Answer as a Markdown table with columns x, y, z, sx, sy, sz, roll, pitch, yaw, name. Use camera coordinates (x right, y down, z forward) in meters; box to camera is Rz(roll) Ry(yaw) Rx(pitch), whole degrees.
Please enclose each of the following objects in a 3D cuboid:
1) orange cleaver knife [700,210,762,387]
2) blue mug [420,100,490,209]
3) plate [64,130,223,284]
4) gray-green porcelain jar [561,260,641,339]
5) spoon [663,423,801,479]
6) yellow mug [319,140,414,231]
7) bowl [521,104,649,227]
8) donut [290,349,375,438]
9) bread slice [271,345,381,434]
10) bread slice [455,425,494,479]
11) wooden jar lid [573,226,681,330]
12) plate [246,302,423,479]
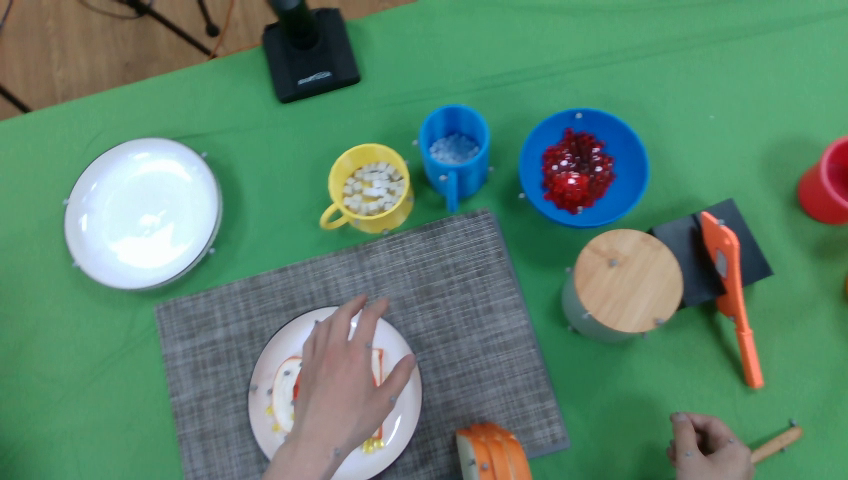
| x | y | z | sx | sy | sz | roll | pitch | yaw | name |
| --- | --- | --- | --- | --- | --- | --- | --- | --- | --- |
| 0.350 | 0.067 | 0.696 | 0.012 | 0.077 | 0.212 | -19 | 105 | 0 | orange cleaver knife |
| 0.038 | -0.096 | 0.747 | 0.082 | 0.106 | 0.116 | 4 | 76 | 5 | blue mug |
| -0.362 | -0.042 | 0.796 | 0.207 | 0.039 | 0.206 | -1 | 76 | 4 | plate |
| 0.213 | 0.056 | 0.686 | 0.106 | 0.127 | 0.105 | -1 | 76 | 4 | gray-green porcelain jar |
| 0.344 | 0.254 | 0.680 | 0.194 | 0.022 | 0.041 | -27 | 57 | -3 | spoon |
| -0.077 | -0.059 | 0.766 | 0.131 | 0.064 | 0.099 | -37 | 76 | -4 | yellow mug |
| 0.191 | -0.081 | 0.747 | 0.151 | 0.077 | 0.150 | -1 | 76 | 4 | bowl |
| -0.104 | 0.173 | 0.691 | 0.099 | 0.048 | 0.098 | 0 | 77 | 1 | donut |
| -0.116 | 0.180 | 0.722 | 0.131 | 0.019 | 0.104 | -3 | 75 | 0 | bread slice |
| 0.055 | 0.251 | 0.644 | 0.018 | 0.135 | 0.106 | -8 | 73 | -6 | bread slice |
| 0.208 | 0.040 | 0.625 | 0.108 | 0.021 | 0.108 | 0 | 78 | 1 | wooden jar lid |
| -0.103 | 0.178 | 0.719 | 0.209 | 0.038 | 0.208 | -1 | 76 | 4 | plate |
